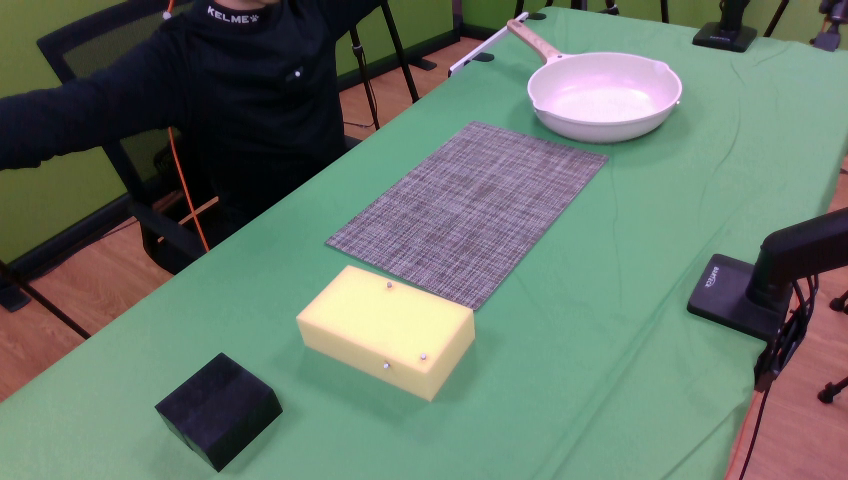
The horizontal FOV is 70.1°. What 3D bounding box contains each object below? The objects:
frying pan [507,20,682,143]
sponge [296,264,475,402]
[{"bbox_3d":[0.312,-0.352,1.271,0.308,0.103,0.484,-20,51,-16],"label":"frying pan"},{"bbox_3d":[-0.050,0.118,0.811,0.205,0.061,0.118,17,47,26],"label":"sponge"}]
